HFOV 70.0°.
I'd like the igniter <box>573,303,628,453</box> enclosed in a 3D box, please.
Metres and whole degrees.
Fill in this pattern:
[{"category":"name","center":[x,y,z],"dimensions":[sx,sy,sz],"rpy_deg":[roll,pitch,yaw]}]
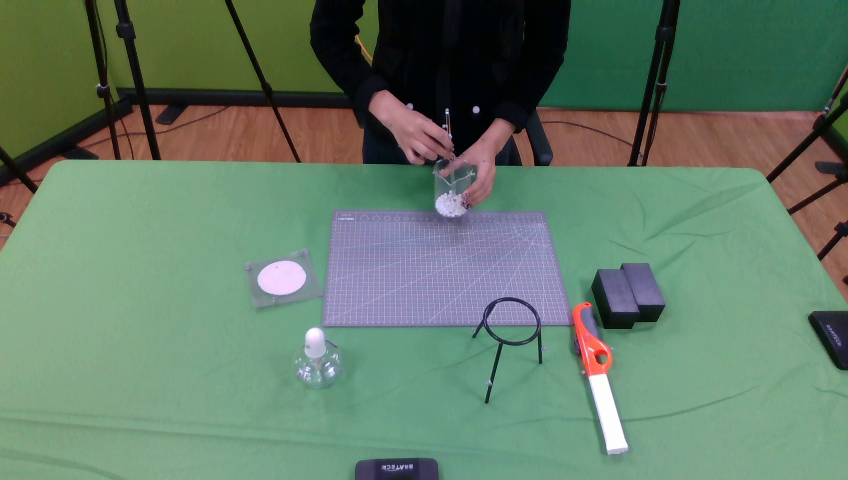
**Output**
[{"category":"igniter","center":[0.288,0.216,1.006],"dimensions":[0.057,0.025,0.274],"rpy_deg":[-10,46,8]}]

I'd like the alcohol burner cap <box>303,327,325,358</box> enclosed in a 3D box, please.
[{"category":"alcohol burner cap","center":[-0.169,0.154,0.925],"dimensions":[0.034,0.048,0.033],"rpy_deg":[4,42,-3]}]

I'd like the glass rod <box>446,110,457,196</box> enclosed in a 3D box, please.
[{"category":"glass rod","center":[0.051,-0.158,1.137],"dimensions":[0.008,0.201,0.008],"rpy_deg":[-5,45,5]}]

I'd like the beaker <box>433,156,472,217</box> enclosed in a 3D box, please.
[{"category":"beaker","center":[0.054,-0.099,1.169],"dimensions":[0.074,0.101,0.083],"rpy_deg":[4,44,6]}]

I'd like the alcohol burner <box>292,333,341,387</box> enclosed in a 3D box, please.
[{"category":"alcohol burner","center":[-0.170,0.179,0.950],"dimensions":[0.078,0.120,0.077],"rpy_deg":[2,48,-2]}]

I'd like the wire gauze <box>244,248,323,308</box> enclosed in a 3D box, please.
[{"category":"wire gauze","center":[-0.262,0.071,1.121],"dimensions":[0.125,0.011,0.120],"rpy_deg":[-11,48,-17]}]

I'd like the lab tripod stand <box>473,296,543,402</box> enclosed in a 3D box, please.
[{"category":"lab tripod stand","center":[0.132,0.168,0.969],"dimensions":[0.148,0.132,0.147],"rpy_deg":[3,48,-3]}]
